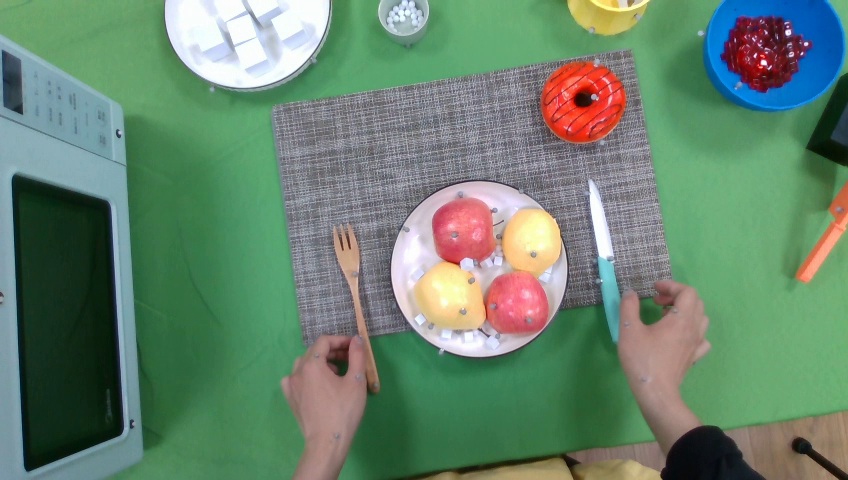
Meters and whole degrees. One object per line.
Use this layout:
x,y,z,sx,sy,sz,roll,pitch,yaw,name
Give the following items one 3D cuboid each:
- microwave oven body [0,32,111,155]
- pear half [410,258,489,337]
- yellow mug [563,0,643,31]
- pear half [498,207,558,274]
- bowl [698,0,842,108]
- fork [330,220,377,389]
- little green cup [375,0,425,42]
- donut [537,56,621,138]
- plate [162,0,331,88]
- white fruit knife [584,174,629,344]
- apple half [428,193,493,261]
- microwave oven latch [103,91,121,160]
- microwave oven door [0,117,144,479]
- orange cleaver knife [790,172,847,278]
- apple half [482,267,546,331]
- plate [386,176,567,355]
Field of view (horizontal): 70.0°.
-0.521,0.045,0.628,0.326,0.260,0.440,-6,86,2,microwave oven body
0.037,0.072,0.697,0.110,0.056,0.076,42,93,2,pear half
0.205,-0.310,0.721,0.131,0.064,0.099,2,85,4,yellow mug
0.116,0.004,0.699,0.070,0.031,0.088,14,89,24,pear half
0.383,-0.218,0.701,0.151,0.077,0.151,0,86,3,bowl
-0.082,0.077,0.728,0.028,0.018,0.207,-12,86,-5,fork
-0.027,-0.276,0.744,0.061,0.039,0.061,0,85,3,little green cup
0.183,-0.169,0.719,0.099,0.048,0.099,0,86,5,donut
-0.216,-0.286,0.753,0.207,0.039,0.207,0,86,3,plate
0.213,0.022,0.720,0.027,0.016,0.207,-6,83,-28,white fruit knife
0.042,-0.015,0.700,0.074,0.053,0.080,-4,89,4,apple half
-0.386,-0.137,0.731,0.030,0.029,0.079,-5,86,2,microwave oven latch
-0.372,0.072,0.614,0.039,0.244,0.355,-6,85,3,microwave oven door
0.476,-0.053,0.682,0.012,0.077,0.212,28,113,10,orange cleaver knife
0.097,0.069,0.692,0.081,0.033,0.081,0,90,25,apple half
0.061,0.029,0.713,0.209,0.038,0.208,0,86,3,plate
